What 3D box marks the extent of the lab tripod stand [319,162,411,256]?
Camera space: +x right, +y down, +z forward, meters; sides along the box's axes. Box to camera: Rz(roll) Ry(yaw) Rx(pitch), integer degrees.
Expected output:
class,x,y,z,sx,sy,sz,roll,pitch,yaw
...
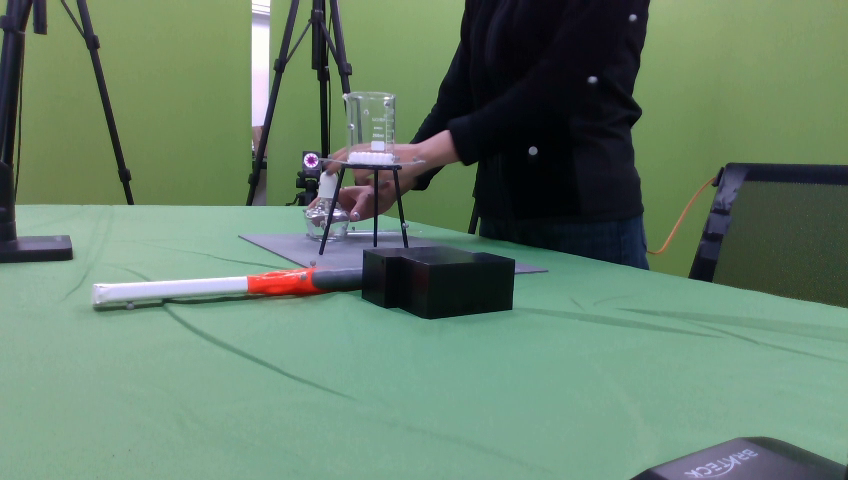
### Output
class,x,y,z,sx,sy,sz,roll,pitch,yaw
lab tripod stand,-0.081,-0.047,0.879,0.148,0.131,0.148,2,9,0

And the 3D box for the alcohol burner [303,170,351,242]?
class,x,y,z,sx,sy,sz,roll,pitch,yaw
alcohol burner,-0.162,-0.057,1.008,0.078,0.119,0.078,1,10,0

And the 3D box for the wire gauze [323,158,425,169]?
class,x,y,z,sx,sy,sz,roll,pitch,yaw
wire gauze,-0.080,-0.112,0.869,0.122,0.011,0.124,-6,12,-35

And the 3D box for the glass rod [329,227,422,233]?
class,x,y,z,sx,sy,sz,roll,pitch,yaw
glass rod,-0.087,-0.020,1.148,0.201,0.008,0.008,-3,8,-33

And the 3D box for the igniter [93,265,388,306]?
class,x,y,z,sx,sy,sz,roll,pitch,yaw
igniter,-0.164,0.042,0.589,0.278,0.025,0.057,-2,-6,-31

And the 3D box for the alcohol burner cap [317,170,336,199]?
class,x,y,z,sx,sy,sz,roll,pitch,yaw
alcohol burner cap,-0.161,-0.093,1.004,0.034,0.048,0.034,3,4,0

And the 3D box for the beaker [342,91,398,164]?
class,x,y,z,sx,sy,sz,roll,pitch,yaw
beaker,-0.079,-0.160,0.867,0.084,0.100,0.073,-5,10,-35
